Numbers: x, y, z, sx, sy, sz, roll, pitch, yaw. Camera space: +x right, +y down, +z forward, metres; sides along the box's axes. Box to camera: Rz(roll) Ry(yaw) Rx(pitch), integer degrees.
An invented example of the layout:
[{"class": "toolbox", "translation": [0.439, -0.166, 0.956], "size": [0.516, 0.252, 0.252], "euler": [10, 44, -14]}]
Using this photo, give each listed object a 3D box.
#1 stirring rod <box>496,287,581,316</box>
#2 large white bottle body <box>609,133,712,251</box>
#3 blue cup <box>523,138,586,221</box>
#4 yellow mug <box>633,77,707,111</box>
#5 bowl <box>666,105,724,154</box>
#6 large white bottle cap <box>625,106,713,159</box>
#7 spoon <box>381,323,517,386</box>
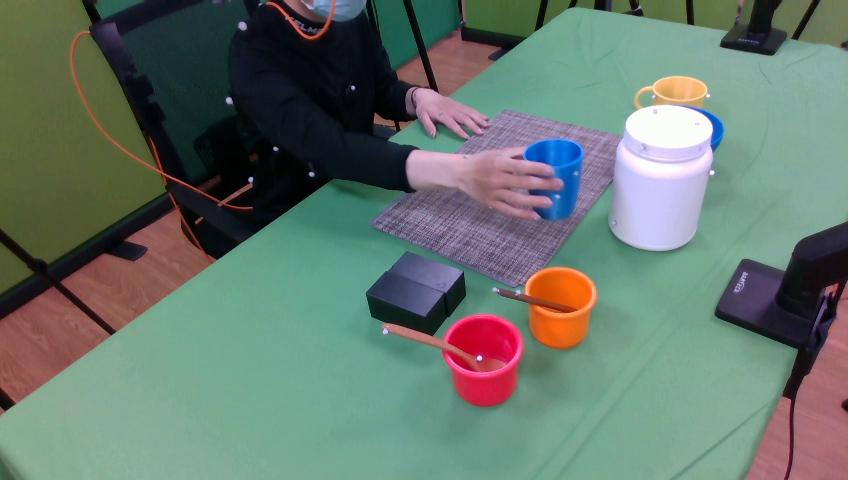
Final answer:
[{"class": "stirring rod", "translation": [0.150, 0.080, 0.774], "size": [0.178, 0.006, 0.014], "euler": [17, 21, -42]}, {"class": "large white bottle body", "translation": [0.351, -0.089, 0.904], "size": [0.130, 0.185, 0.130], "euler": [-5, 41, 4]}, {"class": "blue cup", "translation": [0.191, -0.084, 0.888], "size": [0.092, 0.100, 0.092], "euler": [-6, 37, 5]}, {"class": "yellow mug", "translation": [0.478, -0.269, 1.186], "size": [0.130, 0.064, 0.100], "euler": [10, 44, 21]}, {"class": "bowl", "translation": [0.438, -0.166, 1.063], "size": [0.151, 0.077, 0.150], "euler": [-4, 41, 4]}, {"class": "large white bottle cap", "translation": [0.342, -0.153, 0.848], "size": [0.115, 0.018, 0.114], "euler": [-4, 41, 4]}, {"class": "spoon", "translation": [0.033, 0.133, 0.722], "size": [0.195, 0.021, 0.041], "euler": [29, 33, -26]}]
